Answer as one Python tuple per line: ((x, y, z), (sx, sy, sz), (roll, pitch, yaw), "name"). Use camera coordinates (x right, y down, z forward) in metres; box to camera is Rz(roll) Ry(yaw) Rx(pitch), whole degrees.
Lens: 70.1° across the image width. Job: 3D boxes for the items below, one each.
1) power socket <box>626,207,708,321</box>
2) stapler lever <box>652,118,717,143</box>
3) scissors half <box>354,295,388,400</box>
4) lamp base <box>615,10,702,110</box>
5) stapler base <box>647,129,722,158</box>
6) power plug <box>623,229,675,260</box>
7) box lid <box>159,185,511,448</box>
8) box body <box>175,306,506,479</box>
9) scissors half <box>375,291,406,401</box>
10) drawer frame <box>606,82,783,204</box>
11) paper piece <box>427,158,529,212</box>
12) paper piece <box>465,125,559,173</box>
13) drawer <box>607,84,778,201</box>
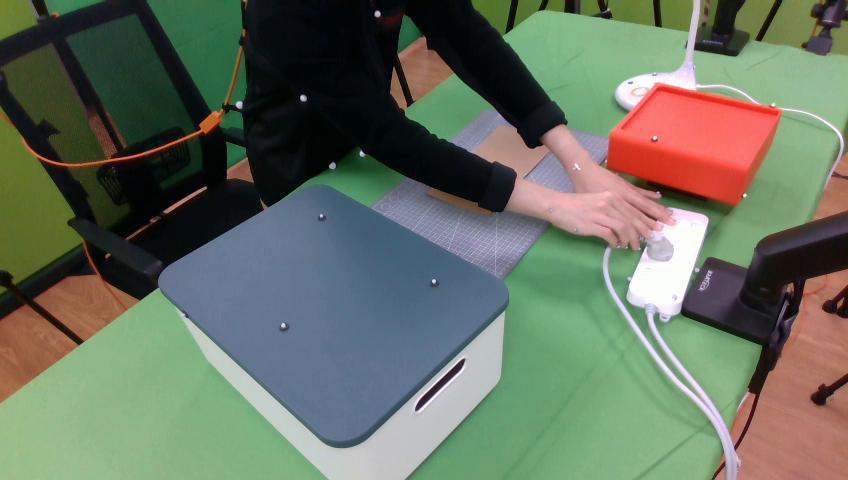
((0.359, 0.026, 0.886), (0.072, 0.033, 0.227), (16, 46, 26), "power socket")
((0.436, -0.192, 1.014), (0.118, 0.040, 0.026), (-15, 24, -16), "stapler lever")
((-0.068, 0.142, 0.818), (0.040, 0.013, 0.174), (-20, 44, 0), "scissors half")
((0.484, -0.364, 1.211), (0.180, 0.181, 0.159), (-15, 41, -14), "lamp base")
((0.439, -0.167, 1.023), (0.131, 0.024, 0.041), (-17, 25, -15), "stapler base")
((0.327, 0.007, 0.878), (0.072, 0.053, 0.035), (25, 51, 33), "power plug")
((-0.114, 0.055, 0.705), (0.368, 0.015, 0.264), (28, 51, 34), "box lid")
((-0.105, 0.111, 0.751), (0.361, 0.161, 0.255), (28, 52, 35), "box body")
((-0.048, 0.139, 0.816), (0.040, 0.013, 0.174), (-4, 46, 9), "scissors half")
((0.441, -0.167, 0.995), (0.212, 0.083, 0.202), (23, 48, 30), "drawer frame")
((0.097, -0.103, 1.089), (0.134, 0.004, 0.136), (22, 46, 32), "paper piece")
((0.172, -0.177, 1.167), (0.137, 0.009, 0.136), (21, 45, 30), "paper piece")
((0.439, -0.167, 0.995), (0.210, 0.073, 0.195), (23, 48, 30), "drawer")
